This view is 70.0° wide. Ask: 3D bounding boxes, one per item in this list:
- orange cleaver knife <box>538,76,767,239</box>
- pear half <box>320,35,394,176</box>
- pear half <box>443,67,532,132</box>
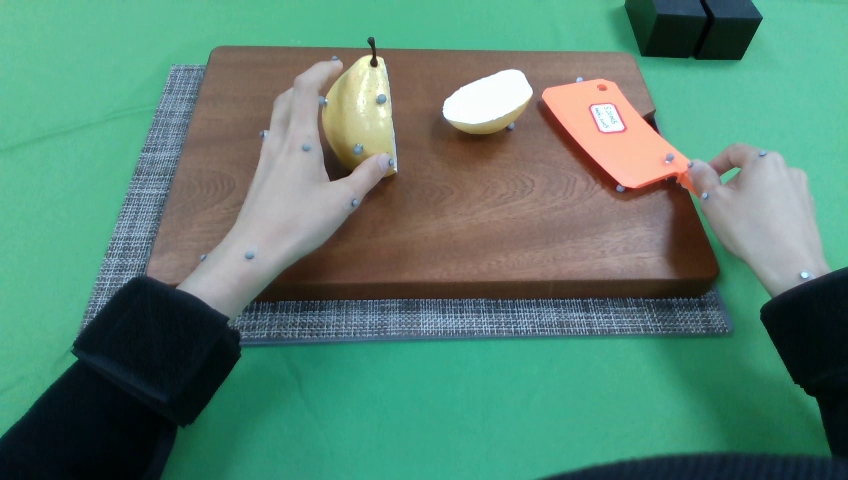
[{"bbox_3d":[0.175,-0.069,0.488,0.077,0.012,0.209,-26,58,-18],"label":"orange cleaver knife"},{"bbox_3d":[-0.049,-0.099,0.440,0.056,0.111,0.075,-6,49,-8],"label":"pear half"},{"bbox_3d":[0.055,-0.112,0.504,0.070,0.031,0.088,21,48,29],"label":"pear half"}]
